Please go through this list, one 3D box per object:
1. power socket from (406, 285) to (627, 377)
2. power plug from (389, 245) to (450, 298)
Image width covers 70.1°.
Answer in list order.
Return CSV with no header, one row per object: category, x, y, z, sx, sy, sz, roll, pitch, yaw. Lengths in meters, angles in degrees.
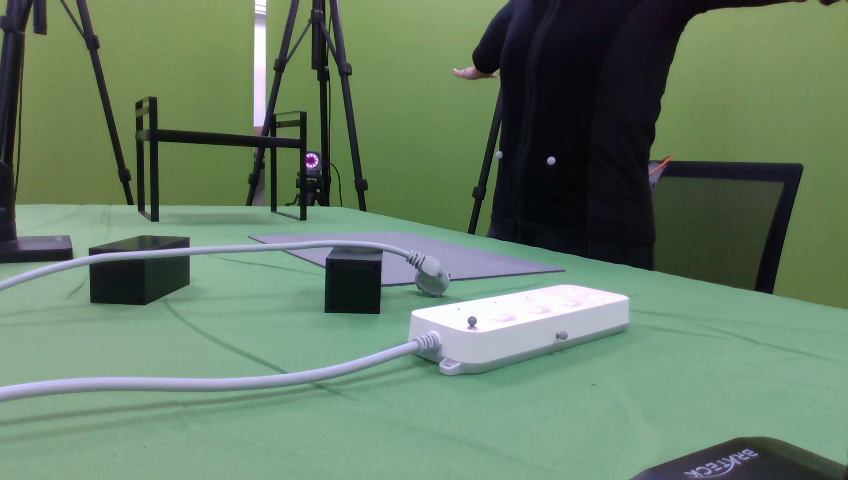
power socket,0.083,0.065,0.486,0.228,0.032,0.072,-5,9,-42
power plug,-0.004,0.029,0.629,0.035,0.072,0.052,-46,-5,-32
